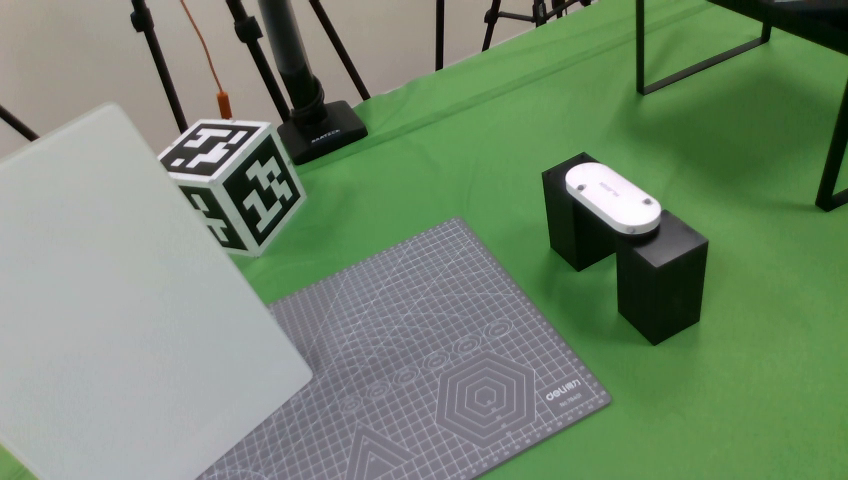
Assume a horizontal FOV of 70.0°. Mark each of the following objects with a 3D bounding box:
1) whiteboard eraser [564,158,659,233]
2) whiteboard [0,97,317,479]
[{"bbox_3d":[0.161,-0.042,0.526,0.041,0.019,0.100,-25,43,-12],"label":"whiteboard eraser"},{"bbox_3d":[-0.283,0.065,0.540,0.217,0.308,0.143,-40,27,-22],"label":"whiteboard"}]
